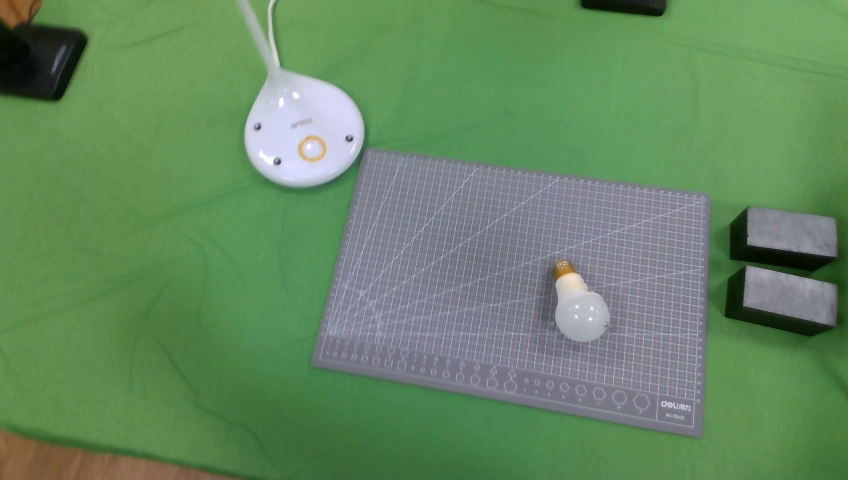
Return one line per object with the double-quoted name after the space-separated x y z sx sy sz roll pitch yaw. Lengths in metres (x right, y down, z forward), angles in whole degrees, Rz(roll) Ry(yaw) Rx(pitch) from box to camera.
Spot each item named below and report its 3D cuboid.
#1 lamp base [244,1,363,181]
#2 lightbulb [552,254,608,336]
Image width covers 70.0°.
-0.172 -0.188 0.743 0.160 0.181 0.178 -31 69 -8 "lamp base"
0.175 0.061 0.705 0.059 0.060 0.106 -12 55 -1 "lightbulb"
